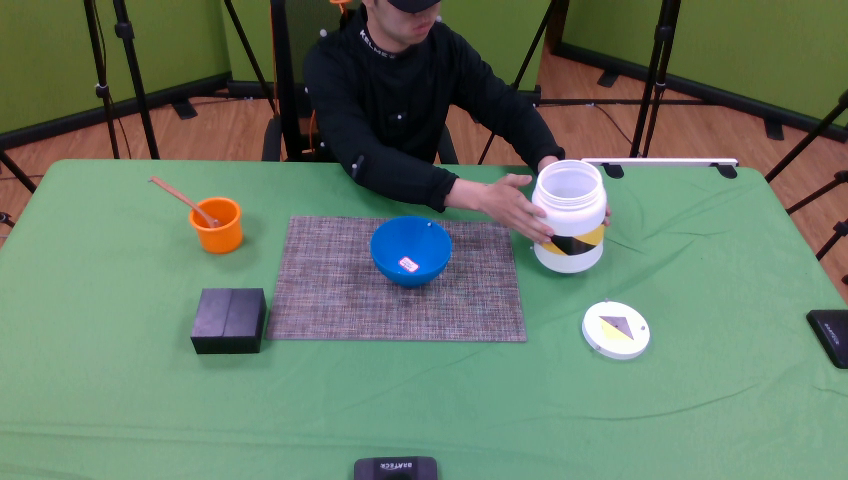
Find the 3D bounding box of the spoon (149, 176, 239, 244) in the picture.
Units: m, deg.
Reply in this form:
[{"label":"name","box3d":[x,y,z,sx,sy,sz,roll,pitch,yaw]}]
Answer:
[{"label":"spoon","box3d":[-0.427,-0.057,1.132,0.021,0.195,0.041,-27,31,34]}]

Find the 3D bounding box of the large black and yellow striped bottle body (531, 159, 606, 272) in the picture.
[{"label":"large black and yellow striped bottle body","box3d":[0.264,-0.045,1.113,0.131,0.185,0.130,-6,46,7]}]

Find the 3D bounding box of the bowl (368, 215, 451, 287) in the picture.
[{"label":"bowl","box3d":[-0.028,0.033,1.119,0.151,0.077,0.150,2,46,-2]}]

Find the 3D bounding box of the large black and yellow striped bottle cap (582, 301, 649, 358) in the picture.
[{"label":"large black and yellow striped bottle cap","box3d":[0.340,0.157,1.077,0.115,0.019,0.114,1,47,-1]}]
